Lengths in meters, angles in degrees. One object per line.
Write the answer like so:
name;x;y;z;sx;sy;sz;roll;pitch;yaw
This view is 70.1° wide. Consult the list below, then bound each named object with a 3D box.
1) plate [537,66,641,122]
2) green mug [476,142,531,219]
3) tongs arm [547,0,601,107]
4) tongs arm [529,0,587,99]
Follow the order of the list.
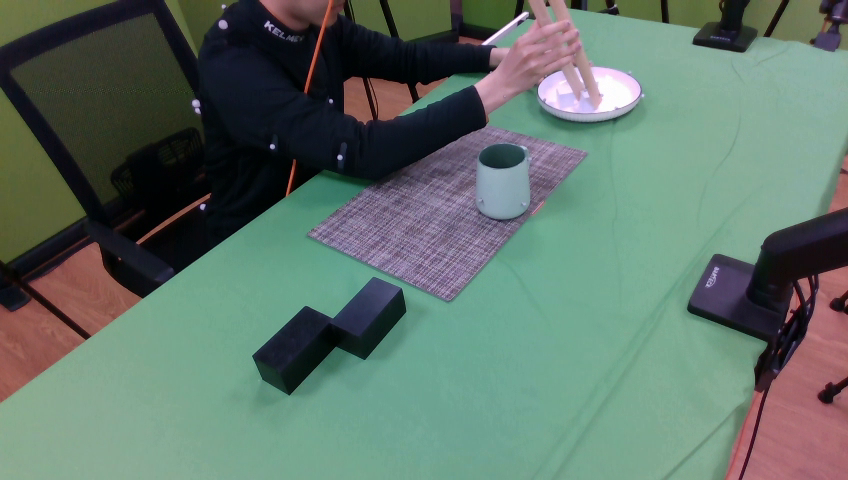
plate;0.338;-0.299;1.255;0.209;0.038;0.208;-4;41;4
green mug;0.139;-0.106;1.003;0.092;0.105;0.125;21;48;30
tongs arm;0.252;-0.359;1.076;0.026;0.388;0.050;-47;55;3
tongs arm;0.237;-0.374;1.093;0.028;0.391;0.028;-44;53;5
